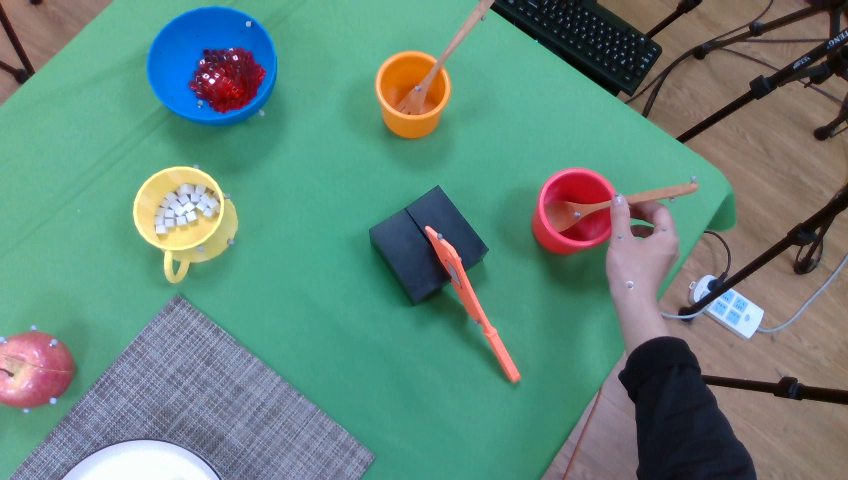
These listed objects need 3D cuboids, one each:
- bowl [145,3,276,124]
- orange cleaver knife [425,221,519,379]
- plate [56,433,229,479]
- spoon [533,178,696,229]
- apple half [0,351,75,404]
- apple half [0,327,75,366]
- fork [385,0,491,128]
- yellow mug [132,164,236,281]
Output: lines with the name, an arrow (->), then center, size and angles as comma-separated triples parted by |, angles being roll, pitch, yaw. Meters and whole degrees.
bowl -> -0.253, -0.204, 0.748 | 0.151, 0.077, 0.150 | 1, 77, -4
orange cleaver knife -> 0.055, 0.071, 0.699 | 0.012, 0.076, 0.213 | -32, 112, -9
plate -> -0.297, 0.309, 0.638 | 0.209, 0.038, 0.208 | 1, 76, -4
spoon -> 0.217, -0.046, 0.710 | 0.193, 0.022, 0.041 | -12, 70, 39
apple half -> -0.428, 0.149, 0.654 | 0.081, 0.075, 0.053 | 19, 80, -3
apple half -> -0.417, 0.113, 0.662 | 0.081, 0.081, 0.032 | 18, 79, 1
fork -> 0.017, -0.218, 0.734 | 0.028, 0.018, 0.208 | 48, 121, 9
yellow mug -> -0.280, -0.017, 0.708 | 0.100, 0.064, 0.130 | 7, 77, -3
